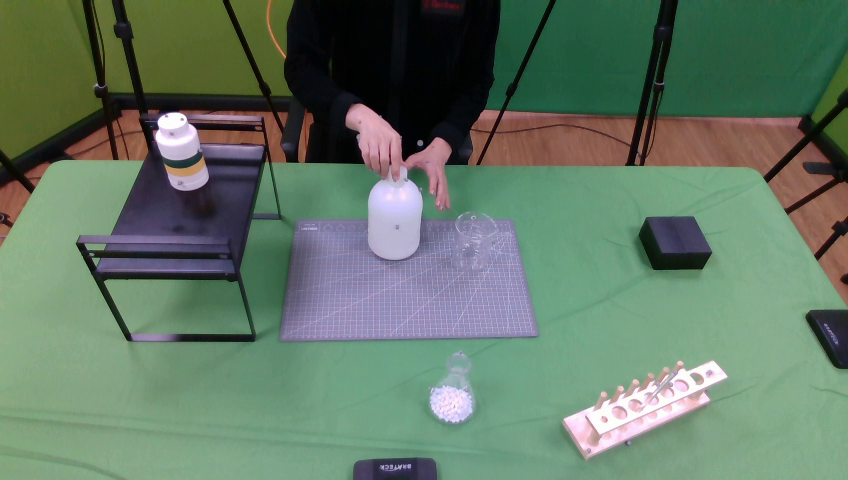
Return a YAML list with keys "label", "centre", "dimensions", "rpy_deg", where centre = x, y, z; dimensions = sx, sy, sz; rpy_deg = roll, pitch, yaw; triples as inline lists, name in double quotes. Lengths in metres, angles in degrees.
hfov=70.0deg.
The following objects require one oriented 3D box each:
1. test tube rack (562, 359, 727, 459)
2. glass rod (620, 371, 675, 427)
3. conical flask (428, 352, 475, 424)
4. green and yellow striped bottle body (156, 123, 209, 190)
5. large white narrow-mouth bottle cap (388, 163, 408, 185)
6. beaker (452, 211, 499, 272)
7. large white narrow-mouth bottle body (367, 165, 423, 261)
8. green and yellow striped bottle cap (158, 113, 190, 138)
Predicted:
- label: "test tube rack"
  centre: [0.341, 0.247, 0.940]
  dimensions: [0.243, 0.085, 0.066]
  rpy_deg: [-16, 49, -18]
- label: "glass rod"
  centre: [0.316, 0.230, 0.863]
  dimensions: [0.008, 0.200, 0.008]
  rpy_deg: [3, 54, -3]
- label: "conical flask"
  centre: [0.046, 0.220, 0.920]
  dimensions: [0.075, 0.122, 0.075]
  rpy_deg: [2, 46, -2]
- label: "green and yellow striped bottle body"
  centre: [-0.395, -0.145, 0.989]
  dimensions: [0.063, 0.120, 0.063]
  rpy_deg: [2, 46, -2]
- label: "large white narrow-mouth bottle cap"
  centre: [-0.045, -0.116, 1.061]
  dimensions: [0.038, 0.024, 0.037]
  rpy_deg: [4, 46, -4]
- label: "beaker"
  centre: [0.093, 0.006, 1.141]
  dimensions: [0.084, 0.101, 0.073]
  rpy_deg: [8, 47, 3]
- label: "large white narrow-mouth bottle body"
  centre: [-0.054, -0.056, 1.124]
  dimensions: [0.102, 0.195, 0.101]
  rpy_deg: [4, 46, -4]
- label: "green and yellow striped bottle cap"
  centre: [-0.393, -0.180, 0.951]
  dimensions: [0.045, 0.020, 0.045]
  rpy_deg: [2, 44, -2]
